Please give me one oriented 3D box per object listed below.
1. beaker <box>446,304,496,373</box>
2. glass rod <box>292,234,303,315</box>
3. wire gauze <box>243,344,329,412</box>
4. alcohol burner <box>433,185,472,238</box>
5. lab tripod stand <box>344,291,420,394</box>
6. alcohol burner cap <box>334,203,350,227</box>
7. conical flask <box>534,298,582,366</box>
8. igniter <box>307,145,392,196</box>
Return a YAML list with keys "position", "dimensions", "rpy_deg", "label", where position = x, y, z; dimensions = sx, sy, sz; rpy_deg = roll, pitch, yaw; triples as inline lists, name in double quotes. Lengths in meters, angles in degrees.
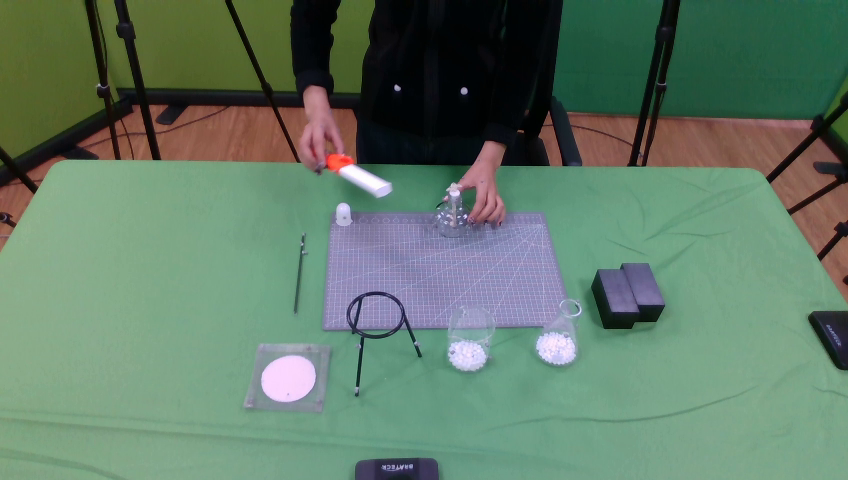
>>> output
- position: [0.072, 0.166, 0.992]
  dimensions: [0.084, 0.101, 0.073]
  rpy_deg: [-21, 51, -22]
  label: "beaker"
- position: [-0.236, 0.060, 1.133]
  dimensions: [0.008, 0.008, 0.198]
  rpy_deg: [-1, 46, -5]
  label: "glass rod"
- position: [-0.221, 0.219, 0.981]
  dimensions: [0.125, 0.011, 0.120]
  rpy_deg: [2, 45, 0]
  label: "wire gauze"
- position: [0.057, -0.062, 1.197]
  dimensions: [0.078, 0.120, 0.077]
  rpy_deg: [1, 47, -1]
  label: "alcohol burner"
- position: [-0.075, 0.155, 0.967]
  dimensions: [0.148, 0.132, 0.147]
  rpy_deg: [3, 44, -3]
  label: "lab tripod stand"
- position: [-0.166, -0.053, 1.220]
  dimensions: [0.034, 0.048, 0.033]
  rpy_deg: [1, 46, -1]
  label: "alcohol burner cap"
- position: [0.229, 0.149, 1.005]
  dimensions: [0.075, 0.122, 0.075]
  rpy_deg: [2, 46, -2]
  label: "conical flask"
- position: [-0.147, -0.134, 1.121]
  dimensions: [0.057, 0.025, 0.275]
  rpy_deg: [-24, 34, -29]
  label: "igniter"
